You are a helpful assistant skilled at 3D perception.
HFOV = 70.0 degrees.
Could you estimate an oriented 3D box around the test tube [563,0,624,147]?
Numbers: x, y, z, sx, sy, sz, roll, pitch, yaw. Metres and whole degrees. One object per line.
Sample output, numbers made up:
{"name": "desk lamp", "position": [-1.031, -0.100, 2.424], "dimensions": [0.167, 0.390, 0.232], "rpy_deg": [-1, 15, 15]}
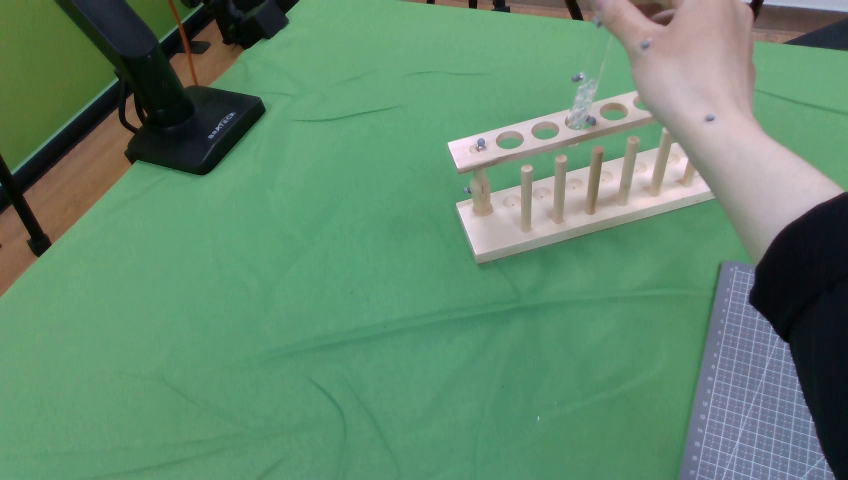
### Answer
{"name": "test tube", "position": [0.125, -0.131, 0.454], "dimensions": [0.017, 0.152, 0.017], "rpy_deg": [3, 47, -3]}

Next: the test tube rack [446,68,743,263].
{"name": "test tube rack", "position": [0.146, -0.062, 0.512], "dimensions": [0.242, 0.086, 0.066], "rpy_deg": [-15, 49, -3]}
